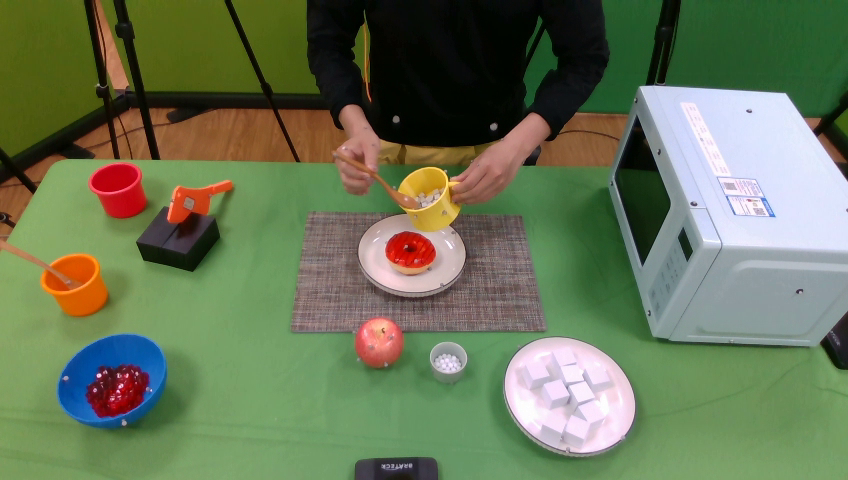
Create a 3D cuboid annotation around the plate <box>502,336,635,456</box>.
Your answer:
[{"bbox_3d":[0.225,0.248,0.963,0.208,0.039,0.206,2,46,-2],"label":"plate"}]

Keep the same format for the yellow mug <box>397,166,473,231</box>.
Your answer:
[{"bbox_3d":[0.023,-0.077,1.076,0.131,0.064,0.099,-13,52,18],"label":"yellow mug"}]

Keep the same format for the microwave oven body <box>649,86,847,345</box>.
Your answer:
[{"bbox_3d":[0.568,-0.053,1.118,0.326,0.261,0.439,2,45,-1],"label":"microwave oven body"}]

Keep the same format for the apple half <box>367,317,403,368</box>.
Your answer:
[{"bbox_3d":[-0.061,0.167,0.998,0.053,0.075,0.080,-11,44,-20],"label":"apple half"}]

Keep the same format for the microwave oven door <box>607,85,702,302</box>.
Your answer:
[{"bbox_3d":[0.423,-0.094,1.140,0.039,0.245,0.353,2,46,-1],"label":"microwave oven door"}]

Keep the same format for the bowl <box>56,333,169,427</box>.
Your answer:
[{"bbox_3d":[-0.456,0.223,0.911,0.151,0.077,0.150,3,46,-2],"label":"bowl"}]

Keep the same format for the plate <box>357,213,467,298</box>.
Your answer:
[{"bbox_3d":[-0.023,0.032,1.150,0.209,0.038,0.208,2,46,-2],"label":"plate"}]

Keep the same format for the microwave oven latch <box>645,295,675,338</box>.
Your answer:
[{"bbox_3d":[0.412,0.134,1.061,0.030,0.029,0.078,3,45,0],"label":"microwave oven latch"}]

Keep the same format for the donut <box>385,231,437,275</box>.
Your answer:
[{"bbox_3d":[-0.025,0.024,1.142,0.099,0.048,0.098,3,44,-3],"label":"donut"}]

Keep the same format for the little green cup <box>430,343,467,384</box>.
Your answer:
[{"bbox_3d":[0.039,0.203,0.994,0.061,0.039,0.061,2,46,-2],"label":"little green cup"}]

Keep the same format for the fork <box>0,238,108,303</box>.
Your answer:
[{"bbox_3d":[-0.633,0.048,1.017,0.208,0.018,0.028,40,41,-27],"label":"fork"}]

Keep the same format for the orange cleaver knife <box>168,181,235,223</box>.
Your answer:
[{"bbox_3d":[-0.436,-0.078,1.196,0.012,0.077,0.211,16,15,10],"label":"orange cleaver knife"}]

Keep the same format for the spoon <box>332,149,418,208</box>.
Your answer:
[{"bbox_3d":[-0.079,-0.103,1.007,0.021,0.195,0.041,-39,43,16],"label":"spoon"}]

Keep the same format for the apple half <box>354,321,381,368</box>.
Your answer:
[{"bbox_3d":[-0.097,0.176,0.985,0.033,0.081,0.080,-12,48,-20],"label":"apple half"}]
